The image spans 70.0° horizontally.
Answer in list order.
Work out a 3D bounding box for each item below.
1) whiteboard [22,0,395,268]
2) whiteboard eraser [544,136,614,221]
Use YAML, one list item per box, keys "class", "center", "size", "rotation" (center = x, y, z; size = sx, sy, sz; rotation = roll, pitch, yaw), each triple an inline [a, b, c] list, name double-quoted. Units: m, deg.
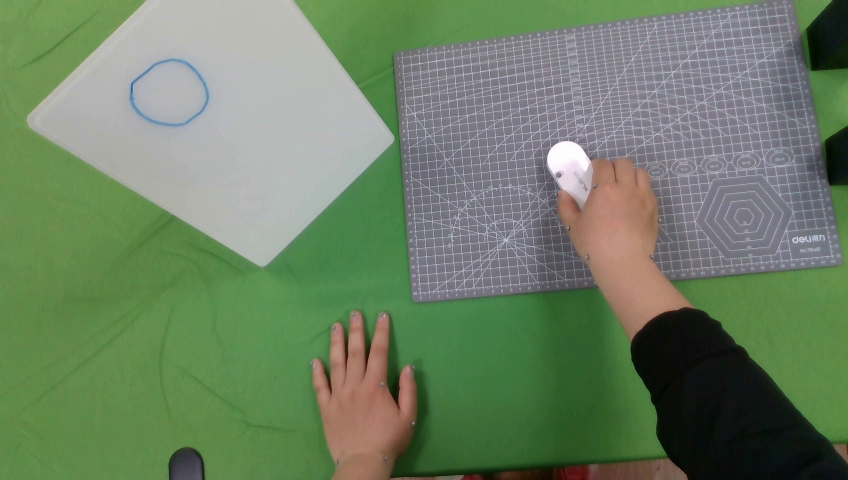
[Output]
- class: "whiteboard"
  center: [-0.205, -0.143, 0.607]
  size: [0.217, 0.308, 0.142]
  rotation: [-45, 59, -1]
- class: "whiteboard eraser"
  center: [0.166, -0.066, 0.653]
  size: [0.041, 0.019, 0.101]
  rotation: [-31, 81, 1]
